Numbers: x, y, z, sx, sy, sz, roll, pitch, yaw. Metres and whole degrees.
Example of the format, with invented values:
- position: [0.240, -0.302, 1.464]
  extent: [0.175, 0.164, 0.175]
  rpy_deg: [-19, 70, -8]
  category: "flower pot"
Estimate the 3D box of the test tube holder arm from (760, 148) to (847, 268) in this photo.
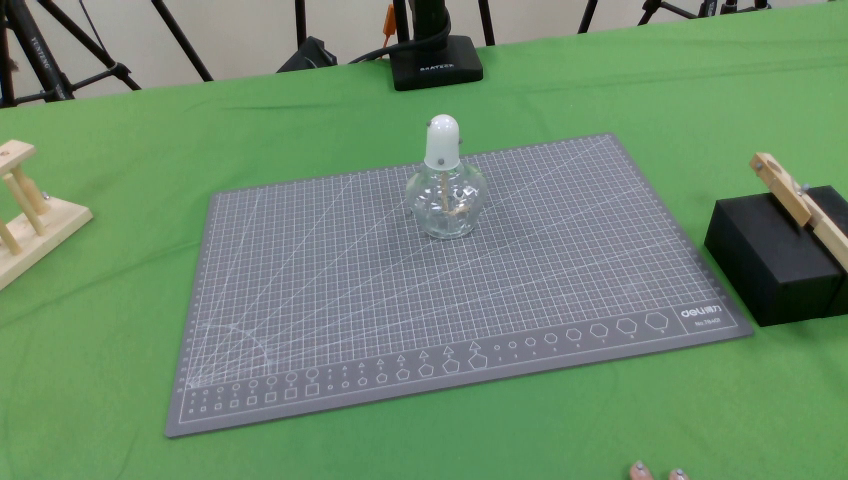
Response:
- position: [0.306, -0.017, 0.473]
  extent: [0.013, 0.015, 0.176]
  rpy_deg: [-2, 43, -8]
  category: "test tube holder arm"

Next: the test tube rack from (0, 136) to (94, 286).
- position: [-0.436, 0.009, 0.552]
  extent: [0.066, 0.086, 0.241]
  rpy_deg: [15, 47, 21]
  category: "test tube rack"

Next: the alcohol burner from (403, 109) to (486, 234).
- position: [0.018, -0.065, 0.554]
  extent: [0.078, 0.120, 0.077]
  rpy_deg: [-4, 41, 4]
  category: "alcohol burner"

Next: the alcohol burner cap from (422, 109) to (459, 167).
- position: [0.015, -0.090, 0.530]
  extent: [0.034, 0.048, 0.033]
  rpy_deg: [1, 42, 0]
  category: "alcohol burner cap"

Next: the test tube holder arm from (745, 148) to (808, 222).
- position: [0.296, -0.047, 0.505]
  extent: [0.010, 0.015, 0.087]
  rpy_deg: [-2, 43, -8]
  category: "test tube holder arm"
